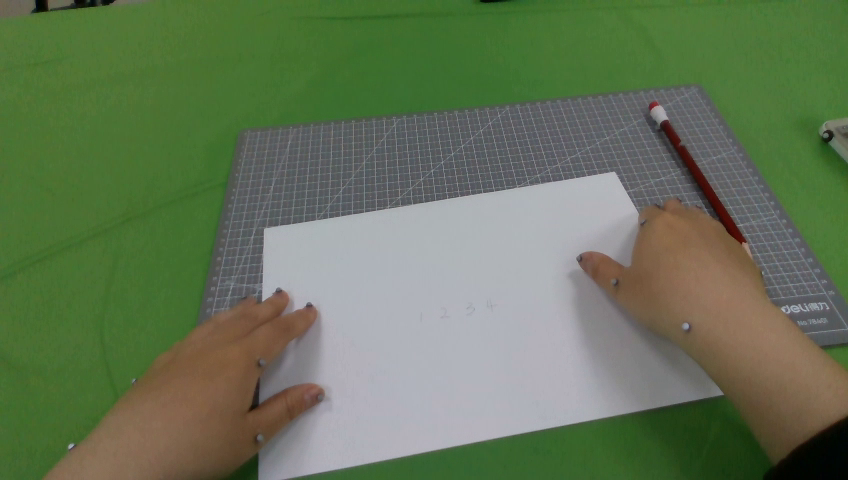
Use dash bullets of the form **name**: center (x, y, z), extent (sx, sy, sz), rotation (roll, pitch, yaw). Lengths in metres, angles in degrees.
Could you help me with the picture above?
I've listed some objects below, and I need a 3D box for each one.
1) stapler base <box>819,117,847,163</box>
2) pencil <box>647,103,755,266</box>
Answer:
- **stapler base**: center (0.377, -0.064, 0.491), extent (0.041, 0.025, 0.129), rotation (-11, 49, -2)
- **pencil**: center (0.225, -0.053, 0.499), extent (0.012, 0.012, 0.192), rotation (-9, 50, -3)
